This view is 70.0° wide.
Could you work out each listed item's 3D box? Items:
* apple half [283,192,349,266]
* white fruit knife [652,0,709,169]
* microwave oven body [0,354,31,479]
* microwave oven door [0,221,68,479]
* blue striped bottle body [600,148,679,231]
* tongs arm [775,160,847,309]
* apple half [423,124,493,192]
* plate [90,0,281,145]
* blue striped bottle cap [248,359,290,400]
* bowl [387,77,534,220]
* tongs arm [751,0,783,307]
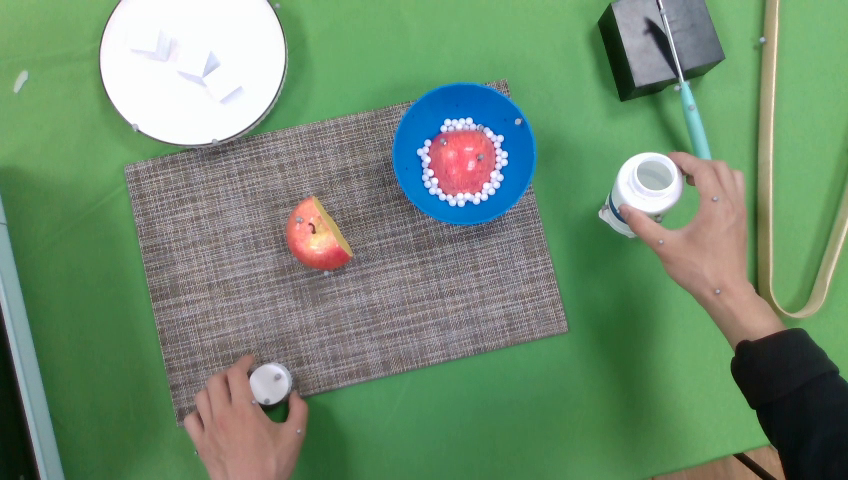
[{"bbox_3d":[-0.122,-0.005,0.654,0.053,0.074,0.081,-33,91,1],"label":"apple half"},{"bbox_3d":[0.280,-0.173,0.667,0.016,0.027,0.208,-20,104,15],"label":"white fruit knife"},{"bbox_3d":[-0.582,0.144,0.543,0.326,0.260,0.441,-15,87,-3],"label":"microwave oven body"},{"bbox_3d":[-0.430,0.145,0.541,0.039,0.244,0.355,-16,87,-2],"label":"microwave oven door"},{"bbox_3d":[0.222,-0.053,0.624,0.063,0.121,0.063,-2,77,8],"label":"blue striped bottle body"},{"bbox_3d":[0.476,-0.102,0.693,0.051,0.026,0.384,16,88,1],"label":"tongs arm"},{"bbox_3d":[0.039,-0.091,0.654,0.081,0.033,0.081,0,85,0],"label":"apple half"},{"bbox_3d":[-0.264,-0.206,0.685,0.208,0.039,0.207,0,87,-1],"label":"plate"},{"bbox_3d":[-0.172,0.154,0.671,0.044,0.020,0.044,0,85,-5],"label":"blue striped bottle cap"},{"bbox_3d":[0.037,-0.092,0.659,0.151,0.077,0.151,0,86,0],"label":"bowl"},{"bbox_3d":[0.395,-0.118,0.696,0.028,0.028,0.387,3,87,-3],"label":"tongs arm"}]
